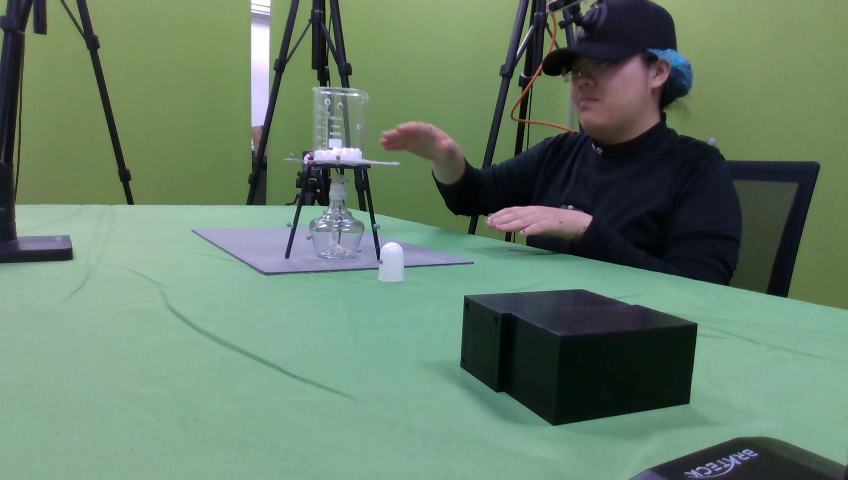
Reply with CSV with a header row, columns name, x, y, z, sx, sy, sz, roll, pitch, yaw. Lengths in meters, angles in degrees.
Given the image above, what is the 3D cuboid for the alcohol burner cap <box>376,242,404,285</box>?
name,x,y,z,sx,sy,sz,roll,pitch,yaw
alcohol burner cap,-0.039,0.026,0.710,0.034,0.048,0.034,3,6,0

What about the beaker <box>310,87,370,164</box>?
name,x,y,z,sx,sy,sz,roll,pitch,yaw
beaker,-0.116,-0.156,0.833,0.084,0.100,0.073,-2,10,-29

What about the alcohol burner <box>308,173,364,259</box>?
name,x,y,z,sx,sy,sz,roll,pitch,yaw
alcohol burner,-0.121,-0.033,0.843,0.078,0.119,0.078,3,5,0

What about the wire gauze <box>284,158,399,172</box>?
name,x,y,z,sx,sy,sz,roll,pitch,yaw
wire gauze,-0.116,-0.108,0.835,0.126,0.011,0.121,0,10,-30

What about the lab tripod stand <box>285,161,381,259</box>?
name,x,y,z,sx,sy,sz,roll,pitch,yaw
lab tripod stand,-0.123,-0.043,0.842,0.148,0.131,0.148,2,9,0
